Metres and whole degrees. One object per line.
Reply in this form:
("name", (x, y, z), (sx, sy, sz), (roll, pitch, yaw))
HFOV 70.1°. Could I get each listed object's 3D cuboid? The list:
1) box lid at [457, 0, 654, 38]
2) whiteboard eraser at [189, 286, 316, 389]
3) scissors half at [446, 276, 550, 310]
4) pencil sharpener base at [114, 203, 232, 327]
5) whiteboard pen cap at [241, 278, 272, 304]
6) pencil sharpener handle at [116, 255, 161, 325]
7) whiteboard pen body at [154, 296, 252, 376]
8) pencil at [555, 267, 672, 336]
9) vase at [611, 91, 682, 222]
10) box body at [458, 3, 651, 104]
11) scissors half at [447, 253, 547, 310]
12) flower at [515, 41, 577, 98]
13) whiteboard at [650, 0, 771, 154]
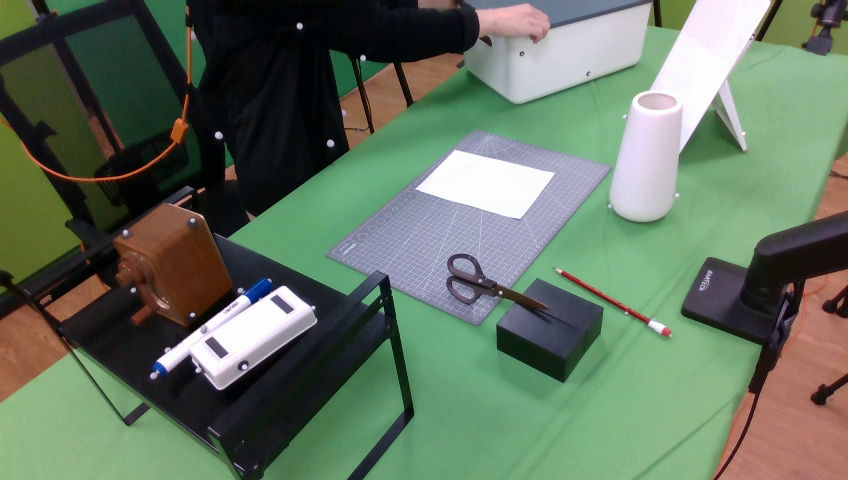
("box lid", (0.285, -0.526, 1.319), (0.373, 0.015, 0.261), (-20, 44, -17))
("whiteboard eraser", (-0.166, 0.096, 0.593), (0.113, 0.042, 0.055), (-36, 46, -29))
("scissors half", (0.098, 0.077, 0.827), (0.174, 0.040, 0.013), (6, 14, 44))
("pencil sharpener base", (-0.262, 0.029, 0.635), (0.061, 0.107, 0.077), (18, 47, 26))
("whiteboard pen cap", (-0.184, 0.057, 0.658), (0.018, 0.018, 0.033), (19, 44, 28))
("pencil sharpener handle", (-0.286, 0.050, 0.594), (0.035, 0.068, 0.031), (7, 41, 36))
("whiteboard pen body", (-0.215, 0.088, 0.619), (0.017, 0.017, 0.141), (19, 42, 28))
("pencil", (0.260, 0.082, 0.850), (0.012, 0.012, 0.192), (-33, 46, -27))
("vase", (0.348, -0.125, 0.935), (0.098, 0.201, 0.097), (-3, 40, 3))
("box body", (0.291, -0.465, 1.371), (0.365, 0.161, 0.252), (-22, 42, -16))
("scissors half", (0.098, 0.058, 0.821), (0.173, 0.040, 0.013), (27, 33, 36))
("flower", (0.298, -0.410, 1.413), (0.044, 0.038, 0.362), (-16, 22, 41))
("whiteboard", (0.543, -0.298, 1.076), (0.144, 0.305, 0.216), (12, 40, -7))
